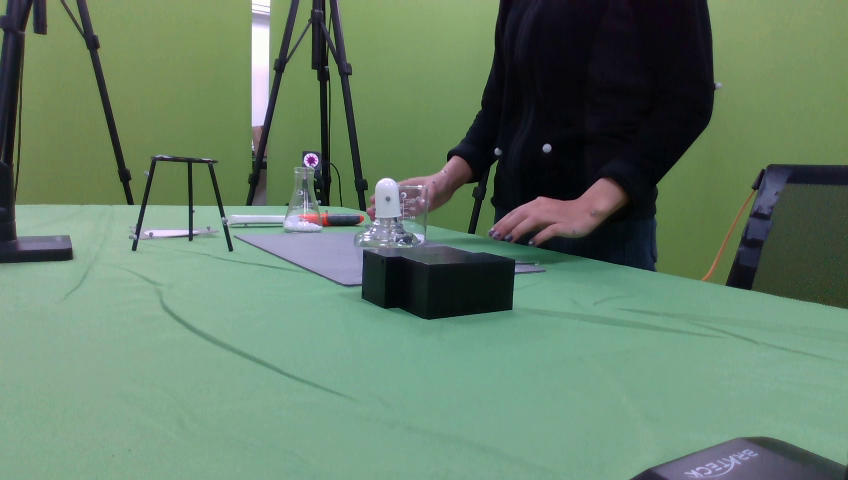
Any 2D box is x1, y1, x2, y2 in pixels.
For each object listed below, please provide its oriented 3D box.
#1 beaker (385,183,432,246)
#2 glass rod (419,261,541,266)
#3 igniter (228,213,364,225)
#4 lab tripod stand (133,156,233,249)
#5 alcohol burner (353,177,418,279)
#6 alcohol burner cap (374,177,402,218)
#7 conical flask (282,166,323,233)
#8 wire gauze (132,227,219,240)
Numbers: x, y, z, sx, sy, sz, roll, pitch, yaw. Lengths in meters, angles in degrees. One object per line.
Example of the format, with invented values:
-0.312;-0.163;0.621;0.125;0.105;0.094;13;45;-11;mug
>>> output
-0.031;-0.043;1.000;0.084;0.100;0.074;4;7;15;beaker
0.080;0.031;0.807;0.201;0.008;0.008;1;6;-32;glass rod
-0.252;-0.043;1.227;0.278;0.025;0.057;-2;-3;-32;igniter
-0.342;-0.054;0.878;0.148;0.131;0.148;4;6;0;lab tripod stand
-0.044;-0.014;0.710;0.078;0.119;0.078;4;9;0;alcohol burner
-0.044;-0.049;0.704;0.034;0.048;0.034;-4;10;1;alcohol burner cap
-0.225;-0.076;1.129;0.075;0.122;0.075;2;8;0;conical flask
-0.421;-0.014;1.024;0.122;0.011;0.124;-2;7;-34;wire gauze
